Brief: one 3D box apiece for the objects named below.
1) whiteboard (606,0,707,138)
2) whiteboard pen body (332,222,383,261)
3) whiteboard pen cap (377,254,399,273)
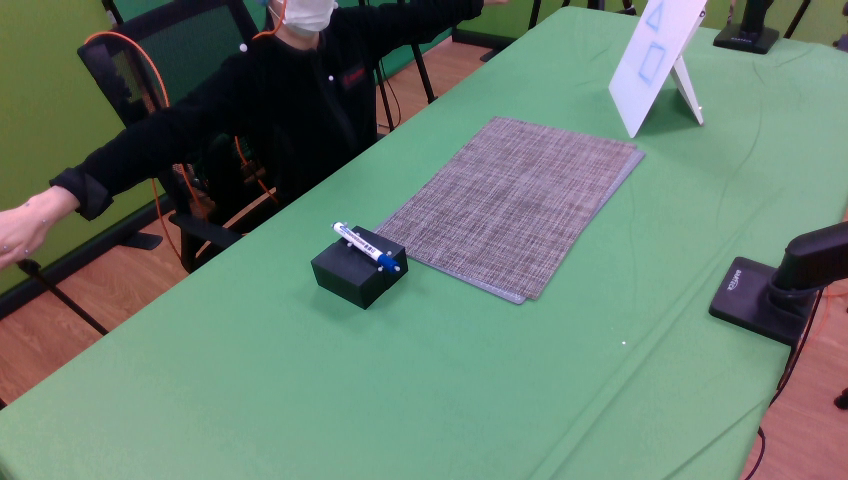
[{"bbox_3d":[0.496,-0.358,1.147,0.144,0.305,0.216,12,40,-7],"label":"whiteboard"},{"bbox_3d":[-0.093,0.006,0.905,0.017,0.017,0.139,-34,47,-28],"label":"whiteboard pen body"},{"bbox_3d":[-0.052,0.033,0.869,0.018,0.018,0.033,-34,46,-28],"label":"whiteboard pen cap"}]
